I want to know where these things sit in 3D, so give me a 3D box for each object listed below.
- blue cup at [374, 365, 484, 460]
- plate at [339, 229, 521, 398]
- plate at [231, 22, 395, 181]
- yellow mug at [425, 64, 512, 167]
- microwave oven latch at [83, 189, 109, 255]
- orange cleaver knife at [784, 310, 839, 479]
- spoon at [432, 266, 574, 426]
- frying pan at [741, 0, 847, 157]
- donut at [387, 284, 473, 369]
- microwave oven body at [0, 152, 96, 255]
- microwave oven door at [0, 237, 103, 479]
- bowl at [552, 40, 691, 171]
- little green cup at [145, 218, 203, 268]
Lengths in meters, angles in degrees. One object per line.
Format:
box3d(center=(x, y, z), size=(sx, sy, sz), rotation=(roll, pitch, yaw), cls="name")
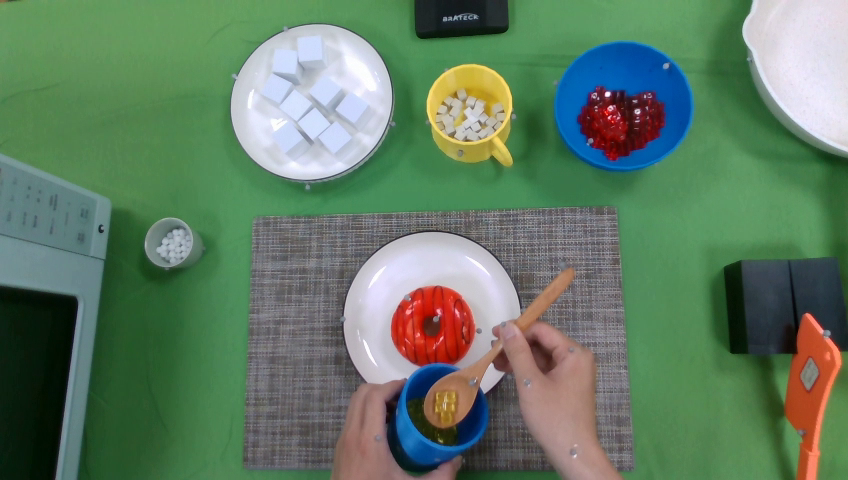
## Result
box3d(center=(-0.004, 0.175, 0.599), size=(0.093, 0.100, 0.092), rotation=(12, 64, -25), cls="blue cup")
box3d(center=(0.007, 0.092, 0.704), size=(0.209, 0.038, 0.208), rotation=(-1, 81, 6), cls="plate")
box3d(center=(-0.138, -0.172, 0.768), size=(0.207, 0.039, 0.207), rotation=(-1, 80, 6), cls="plate")
box3d(center=(0.063, -0.140, 0.728), size=(0.100, 0.064, 0.130), rotation=(-38, 80, -2), cls="yellow mug")
box3d(center=(-0.413, -0.022, 0.750), size=(0.030, 0.029, 0.079), rotation=(5, 82, 6), cls="microwave oven latch")
box3d(center=(0.397, 0.178, 0.633), size=(0.012, 0.077, 0.212), rotation=(-2, 109, 6), cls="orange cleaver knife")
box3d(center=(0.067, 0.096, 0.543), size=(0.041, 0.022, 0.194), rotation=(46, 107, 17), cls="spoon")
box3d(center=(0.501, -0.125, 0.662), size=(0.306, 0.103, 0.485), rotation=(4, 73, 7), cls="frying pan")
box3d(center=(0.007, 0.098, 0.692), size=(0.099, 0.048, 0.099), rotation=(-1, 84, 7), cls="donut")
box3d(center=(-0.578, 0.131, 0.642), size=(0.326, 0.261, 0.440), rotation=(2, 81, 6), cls="microwave oven body")
box3d(center=(-0.436, 0.177, 0.615), size=(0.039, 0.245, 0.354), rotation=(1, 80, 6), cls="microwave oven door")
box3d(center=(0.222, -0.145, 0.707), size=(0.151, 0.077, 0.151), rotation=(-1, 80, 6), cls="bowl")
box3d(center=(-0.308, 0.006, 0.753), size=(0.061, 0.039, 0.061), rotation=(-1, 82, 5), cls="little green cup")
